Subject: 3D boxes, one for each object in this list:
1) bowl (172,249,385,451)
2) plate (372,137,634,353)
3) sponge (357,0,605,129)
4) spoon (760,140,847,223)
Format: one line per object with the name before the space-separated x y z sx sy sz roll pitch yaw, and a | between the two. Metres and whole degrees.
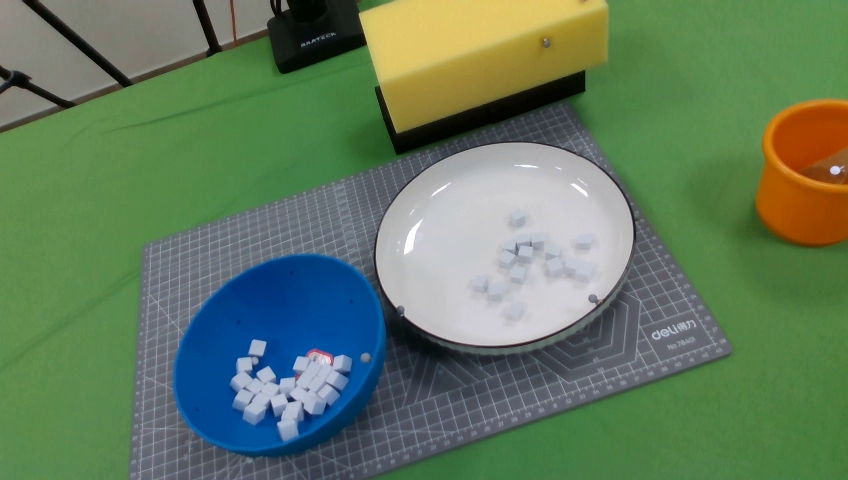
bowl | -0.093 0.089 0.442 0.151 0.077 0.150 -7 52 10
plate | 0.061 0.002 0.494 0.209 0.038 0.207 -7 53 10
sponge | 0.050 -0.193 0.571 0.207 0.061 0.117 -18 51 0
spoon | 0.320 -0.082 0.421 0.022 0.194 0.041 8 44 -37
